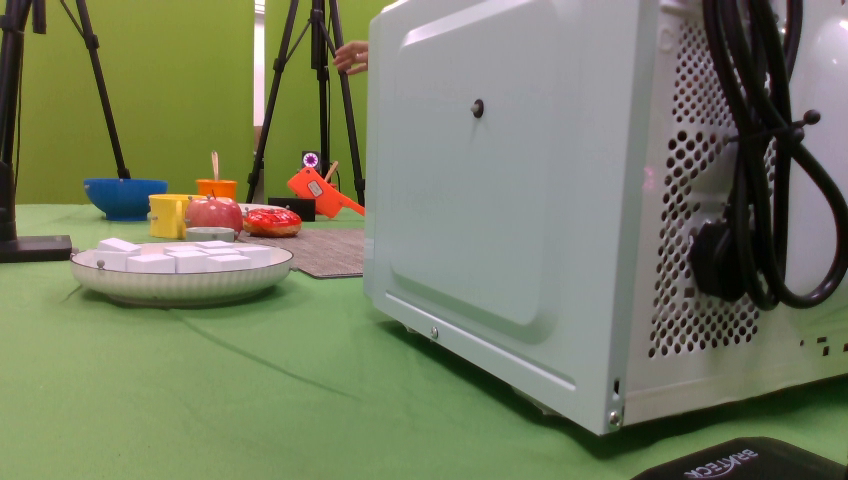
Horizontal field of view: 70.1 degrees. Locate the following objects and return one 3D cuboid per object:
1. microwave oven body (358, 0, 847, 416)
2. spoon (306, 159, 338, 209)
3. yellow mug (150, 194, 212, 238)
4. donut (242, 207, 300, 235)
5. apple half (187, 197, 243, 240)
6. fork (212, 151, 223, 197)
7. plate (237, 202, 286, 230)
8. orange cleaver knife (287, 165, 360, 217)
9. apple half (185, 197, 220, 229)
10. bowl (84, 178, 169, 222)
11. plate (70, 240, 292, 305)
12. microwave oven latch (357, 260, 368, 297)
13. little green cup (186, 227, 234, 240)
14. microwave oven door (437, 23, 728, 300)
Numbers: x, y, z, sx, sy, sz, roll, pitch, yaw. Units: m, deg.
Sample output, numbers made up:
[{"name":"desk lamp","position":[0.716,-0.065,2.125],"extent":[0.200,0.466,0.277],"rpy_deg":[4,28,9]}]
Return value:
[{"name":"microwave oven body","position":[0.211,-0.047,0.475],"extent":[0.444,0.260,0.324],"rpy_deg":[-1,8,-28]},{"name":"spoon","position":[-0.257,-0.147,1.567],"extent":[0.041,0.022,0.193],"rpy_deg":[1,50,20]},{"name":"yellow mug","position":[-0.401,-0.040,1.003],"extent":[0.100,0.064,0.130],"rpy_deg":[0,9,-20]},{"name":"donut","position":[-0.263,-0.032,1.039],"extent":[0.099,0.048,0.099],"rpy_deg":[4,9,0]},{"name":"apple half","position":[-0.305,-0.026,0.907],"extent":[0.053,0.074,0.081],"rpy_deg":[12,8,31]},{"name":"fork","position":[-0.494,-0.143,1.442],"extent":[0.028,0.018,0.206],"rpy_deg":[-2,52,-20]},{"name":"plate","position":[-0.376,-0.048,1.184],"extent":[0.209,0.038,0.209],"rpy_deg":[3,8,0]},{"name":"orange cleaver knife","position":[-0.211,-0.093,1.382],"extent":[0.212,0.077,0.012],"rpy_deg":[33,1,-15]},{"name":"apple half","position":[-0.338,-0.031,0.927],"extent":[0.032,0.081,0.081],"rpy_deg":[12,12,31]},{"name":"bowl","position":[-0.584,-0.078,1.194],"extent":[0.151,0.077,0.151],"rpy_deg":[3,8,0]},{"name":"plate","position":[-0.242,0.031,0.618],"extent":[0.208,0.039,0.207],"rpy_deg":[2,8,0]},{"name":"microwave oven latch","position":[-0.019,0.033,0.531],"extent":[0.079,0.029,0.030],"rpy_deg":[-1,7,-27]},{"name":"little green cup","position":[-0.284,0.005,0.805],"extent":[0.061,0.038,0.061],"rpy_deg":[2,8,0]},{"name":"microwave oven door","position":[0.181,-0.072,0.621],"extent":[0.358,0.243,0.039],"rpy_deg":[-2,8,-29]}]
